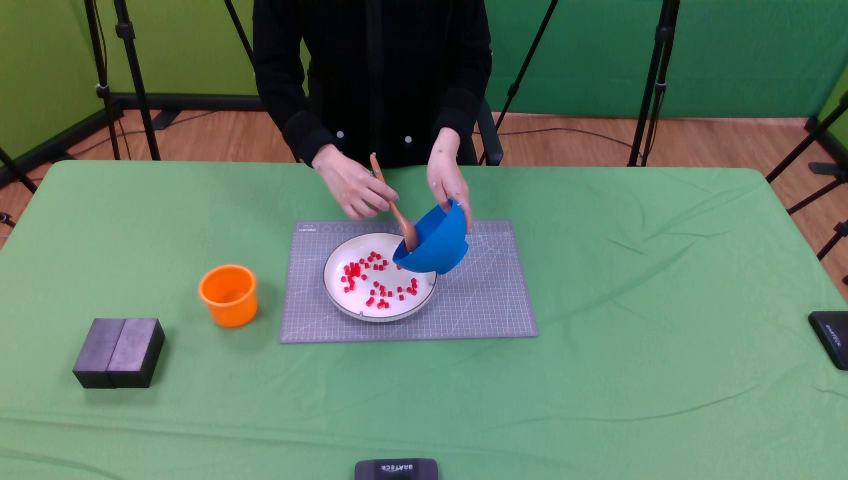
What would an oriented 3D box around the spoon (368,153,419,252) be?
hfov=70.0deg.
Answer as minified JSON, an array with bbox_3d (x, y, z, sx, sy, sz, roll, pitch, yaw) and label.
[{"bbox_3d":[-0.053,-0.061,1.037,0.021,0.194,0.041,-11,26,40],"label":"spoon"}]

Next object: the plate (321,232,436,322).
[{"bbox_3d":[-0.083,0.070,1.109,0.209,0.038,0.208,3,46,-2],"label":"plate"}]

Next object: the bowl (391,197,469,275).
[{"bbox_3d":[0.023,0.007,1.034,0.077,0.151,0.151,44,48,-13],"label":"bowl"}]
